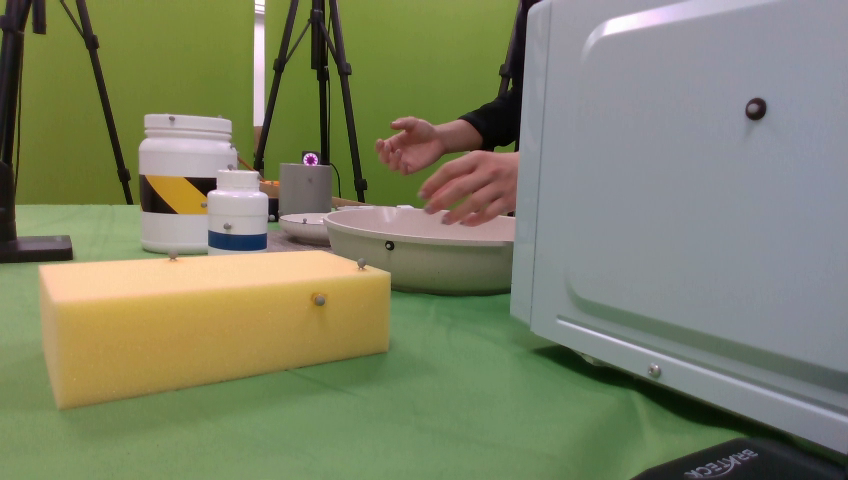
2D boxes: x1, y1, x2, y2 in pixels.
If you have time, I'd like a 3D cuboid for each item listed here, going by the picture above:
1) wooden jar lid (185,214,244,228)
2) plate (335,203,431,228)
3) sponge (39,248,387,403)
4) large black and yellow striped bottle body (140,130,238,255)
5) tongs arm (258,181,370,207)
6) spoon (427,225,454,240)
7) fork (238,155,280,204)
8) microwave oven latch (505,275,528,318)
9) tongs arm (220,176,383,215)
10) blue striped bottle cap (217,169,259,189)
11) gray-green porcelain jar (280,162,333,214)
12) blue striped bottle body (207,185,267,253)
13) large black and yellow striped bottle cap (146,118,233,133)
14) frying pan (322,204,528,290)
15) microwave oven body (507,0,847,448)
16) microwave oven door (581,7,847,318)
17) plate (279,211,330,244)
[{"bbox_3d":[-0.404,-0.037,1.169,0.108,0.020,0.108,3,7,0],"label":"wooden jar lid"},{"bbox_3d":[-0.089,-0.053,1.309,0.208,0.039,0.207,2,8,0],"label":"plate"},{"bbox_3d":[-0.142,0.047,0.420,0.208,0.061,0.117,-3,8,-37],"label":"sponge"},{"bbox_3d":[-0.336,-0.078,0.872,0.131,0.184,0.130,2,8,0],"label":"large black and yellow striped bottle body"},{"bbox_3d":[-0.241,-0.095,1.373,0.387,0.026,0.050,9,0,-37],"label":"tongs arm"},{"bbox_3d":[0.024,-0.019,1.124,0.042,0.021,0.193,-17,10,-4],"label":"spoon"},{"bbox_3d":[-0.396,-0.143,1.486,0.028,0.018,0.208,20,-26,45],"label":"fork"},{"bbox_3d":[0.100,0.042,0.472,0.079,0.029,0.030,-2,8,-30],"label":"microwave oven latch"},{"bbox_3d":[-0.285,-0.104,1.445,0.389,0.027,0.028,9,-4,-23],"label":"tongs arm"},{"bbox_3d":[-0.202,-0.067,0.657,0.044,0.020,0.044,0,10,0],"label":"blue striped bottle cap"},{"bbox_3d":[-0.238,-0.092,1.221,0.106,0.126,0.106,2,7,0],"label":"gray-green porcelain jar"},{"bbox_3d":[-0.204,-0.016,0.663,0.063,0.120,0.063,2,7,0],"label":"blue striped bottle body"},{"bbox_3d":[-0.333,-0.163,0.861,0.115,0.019,0.115,1,9,0],"label":"large black and yellow striped bottle cap"},{"bbox_3d":[0.109,-0.017,0.800,0.490,0.102,0.305,-12,16,-30],"label":"frying pan"},{"bbox_3d":[0.331,-0.042,0.425,0.444,0.260,0.324,-2,8,-31],"label":"microwave oven body"},{"bbox_3d":[0.295,-0.067,0.569,0.358,0.243,0.039,-3,8,-31],"label":"microwave oven door"},{"bbox_3d":[-0.139,-0.022,1.021,0.209,0.038,0.209,2,8,0],"label":"plate"}]
